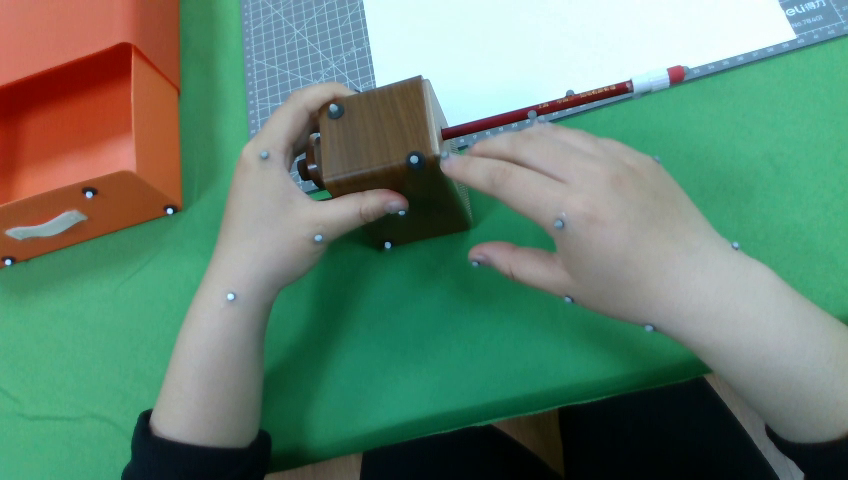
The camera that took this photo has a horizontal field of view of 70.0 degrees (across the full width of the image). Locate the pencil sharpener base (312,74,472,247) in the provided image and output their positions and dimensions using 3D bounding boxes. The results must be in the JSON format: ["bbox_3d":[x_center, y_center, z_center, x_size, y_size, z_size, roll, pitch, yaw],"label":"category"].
[{"bbox_3d":[-0.018,-0.045,0.395,0.076,0.108,0.061,-14,66,11],"label":"pencil sharpener base"}]

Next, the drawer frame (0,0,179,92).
[{"bbox_3d":[-0.333,-0.203,0.557,0.201,0.083,0.211,-16,65,9],"label":"drawer frame"}]

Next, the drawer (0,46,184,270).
[{"bbox_3d":[-0.309,-0.098,0.511,0.194,0.074,0.210,-17,65,9],"label":"drawer"}]

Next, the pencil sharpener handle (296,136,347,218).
[{"bbox_3d":[-0.070,-0.036,0.393,0.030,0.068,0.035,-14,58,11],"label":"pencil sharpener handle"}]

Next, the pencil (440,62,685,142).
[{"bbox_3d":[0.053,-0.073,0.356,0.194,0.012,0.012,-14,66,9],"label":"pencil"}]
